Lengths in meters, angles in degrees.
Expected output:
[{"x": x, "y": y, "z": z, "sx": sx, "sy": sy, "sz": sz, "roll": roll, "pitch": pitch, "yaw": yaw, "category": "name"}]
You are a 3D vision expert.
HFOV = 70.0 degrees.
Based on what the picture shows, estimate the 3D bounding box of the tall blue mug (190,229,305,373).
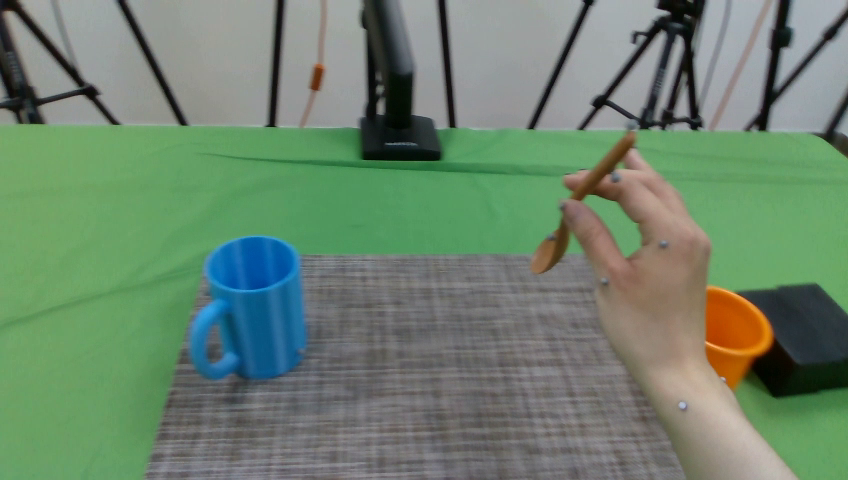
[{"x": -0.151, "y": 0.064, "z": 0.537, "sx": 0.078, "sy": 0.109, "sz": 0.106, "roll": 6, "pitch": 38, "yaw": 0, "category": "tall blue mug"}]

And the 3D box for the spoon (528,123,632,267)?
[{"x": 0.101, "y": -0.025, "z": 0.420, "sx": 0.021, "sy": 0.195, "sz": 0.041, "roll": 23, "pitch": 69, "yaw": 8, "category": "spoon"}]
